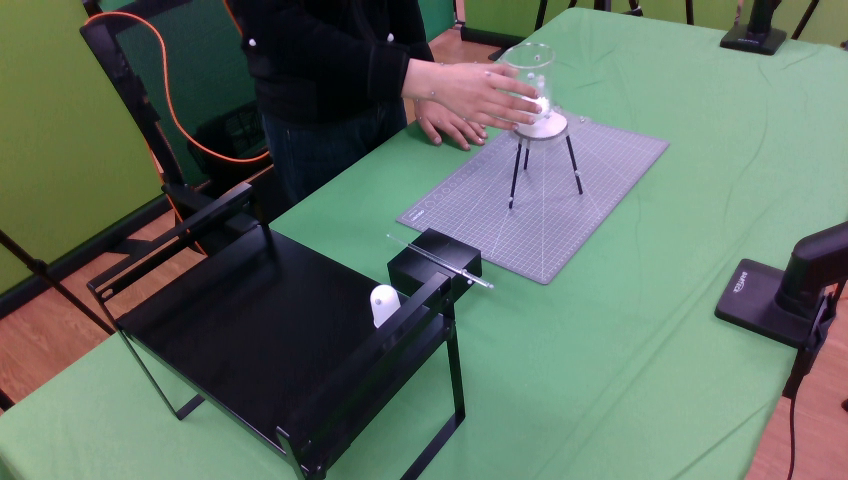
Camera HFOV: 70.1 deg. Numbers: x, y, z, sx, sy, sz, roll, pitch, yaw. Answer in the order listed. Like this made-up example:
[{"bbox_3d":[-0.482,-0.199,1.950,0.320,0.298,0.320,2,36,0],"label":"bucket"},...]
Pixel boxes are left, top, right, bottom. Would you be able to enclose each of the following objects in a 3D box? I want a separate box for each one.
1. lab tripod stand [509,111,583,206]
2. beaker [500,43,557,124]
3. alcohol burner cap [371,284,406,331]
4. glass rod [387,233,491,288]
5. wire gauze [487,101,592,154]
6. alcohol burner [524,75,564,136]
[{"bbox_3d":[0.198,-0.139,1.020,0.148,0.132,0.147,-3,39,3],"label":"lab tripod stand"},{"bbox_3d":[0.158,-0.236,0.922,0.084,0.101,0.074,2,45,11],"label":"beaker"},{"bbox_3d":[-0.037,0.065,0.608,0.034,0.048,0.033,-4,41,4],"label":"alcohol burner cap"},{"bbox_3d":[0.017,0.027,0.877,0.198,0.008,0.008,26,51,34],"label":"glass rod"},{"bbox_3d":[0.185,-0.188,0.974,0.122,0.011,0.124,-27,44,-23],"label":"wire gauze"},{"bbox_3d":[0.232,-0.263,1.175,0.078,0.119,0.077,-6,39,5],"label":"alcohol burner"}]
